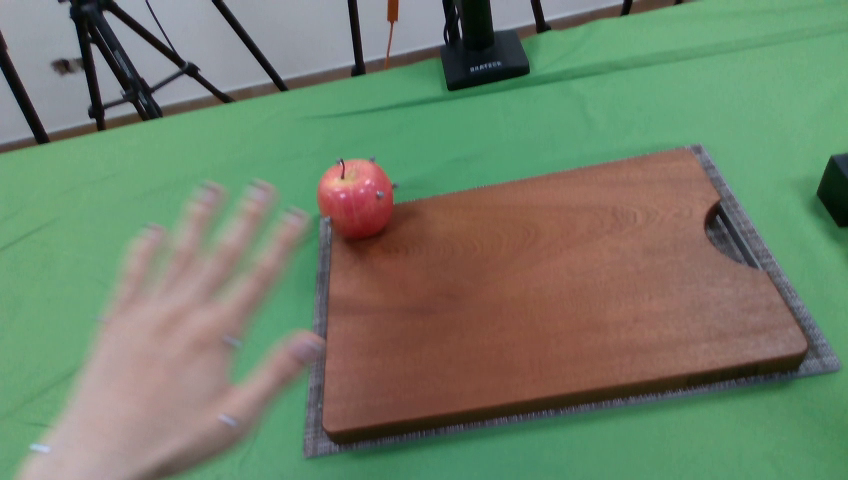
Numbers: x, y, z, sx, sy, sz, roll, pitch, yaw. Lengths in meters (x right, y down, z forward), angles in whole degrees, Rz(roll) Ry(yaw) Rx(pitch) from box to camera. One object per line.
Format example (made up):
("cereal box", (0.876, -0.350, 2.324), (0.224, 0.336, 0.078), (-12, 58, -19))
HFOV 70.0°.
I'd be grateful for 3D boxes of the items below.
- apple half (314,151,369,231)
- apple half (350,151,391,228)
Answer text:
("apple half", (-0.087, -0.050, 0.644), (0.053, 0.075, 0.080), (-6, 49, 14))
("apple half", (-0.050, -0.053, 0.636), (0.033, 0.082, 0.080), (-6, 47, 13))
